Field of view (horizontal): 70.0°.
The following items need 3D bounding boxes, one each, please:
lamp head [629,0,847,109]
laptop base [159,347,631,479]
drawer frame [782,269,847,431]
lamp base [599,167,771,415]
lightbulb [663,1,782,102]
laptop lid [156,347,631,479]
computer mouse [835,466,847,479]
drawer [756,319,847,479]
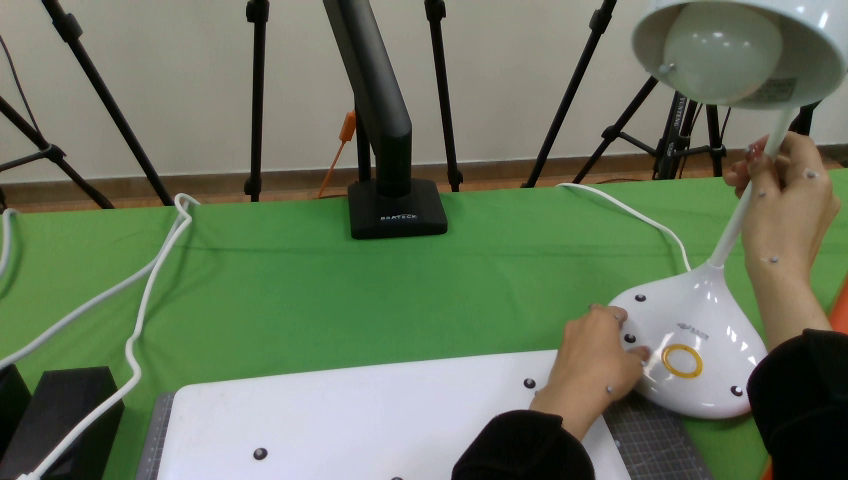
[{"bbox_3d":[0.190,-0.148,0.339,0.111,0.113,0.122,22,80,25],"label":"lamp head"},{"bbox_3d":[-0.019,0.188,0.458,0.355,0.023,0.233,-4,41,-8],"label":"laptop base"},{"bbox_3d":[0.457,0.117,0.531,0.200,0.083,0.213,27,42,30],"label":"drawer frame"},{"bbox_3d":[0.260,0.033,0.545,0.160,0.181,0.178,18,37,14],"label":"lamp base"},{"bbox_3d":[0.174,-0.129,0.334,0.059,0.107,0.059,24,2,0],"label":"lightbulb"},{"bbox_3d":[-0.019,0.181,0.451,0.357,0.013,0.239,-3,39,-7],"label":"laptop lid"},{"bbox_3d":[0.352,0.208,0.429,0.116,0.041,0.062,26,42,23],"label":"computer mouse"},{"bbox_3d":[0.386,0.167,0.462,0.193,0.074,0.211,26,42,30],"label":"drawer"}]
